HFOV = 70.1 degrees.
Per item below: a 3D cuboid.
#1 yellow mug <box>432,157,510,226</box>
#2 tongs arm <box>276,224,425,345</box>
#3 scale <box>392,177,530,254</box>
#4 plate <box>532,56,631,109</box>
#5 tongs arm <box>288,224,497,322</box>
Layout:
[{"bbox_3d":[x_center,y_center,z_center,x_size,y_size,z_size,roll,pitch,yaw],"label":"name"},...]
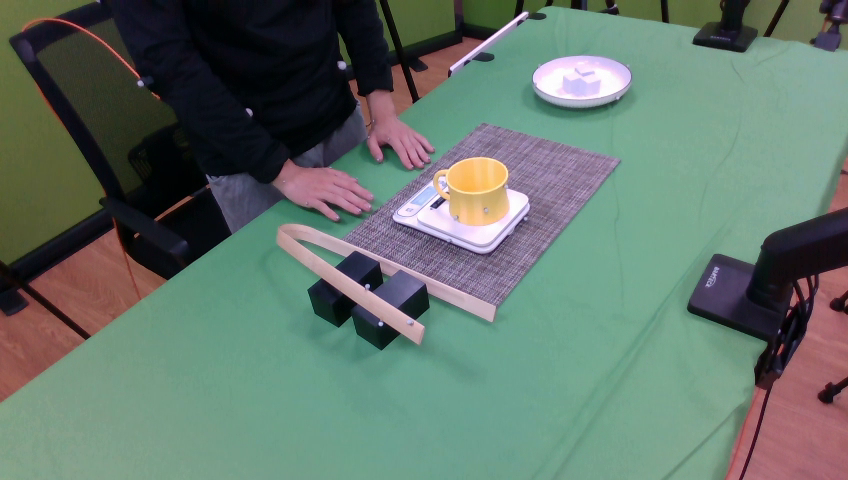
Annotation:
[{"bbox_3d":[0.072,-0.082,0.968,0.130,0.064,0.100,13,45,24],"label":"yellow mug"},{"bbox_3d":[-0.114,0.050,0.856,0.051,0.026,0.381,-7,24,-44],"label":"tongs arm"},{"bbox_3d":[0.060,-0.050,1.006,0.199,0.032,0.149,22,48,30],"label":"scale"},{"bbox_3d":[0.336,-0.335,1.301,0.207,0.039,0.206,-4,41,4],"label":"plate"},{"bbox_3d":[-0.060,0.043,0.918,0.384,0.028,0.028,21,24,28],"label":"tongs arm"}]
